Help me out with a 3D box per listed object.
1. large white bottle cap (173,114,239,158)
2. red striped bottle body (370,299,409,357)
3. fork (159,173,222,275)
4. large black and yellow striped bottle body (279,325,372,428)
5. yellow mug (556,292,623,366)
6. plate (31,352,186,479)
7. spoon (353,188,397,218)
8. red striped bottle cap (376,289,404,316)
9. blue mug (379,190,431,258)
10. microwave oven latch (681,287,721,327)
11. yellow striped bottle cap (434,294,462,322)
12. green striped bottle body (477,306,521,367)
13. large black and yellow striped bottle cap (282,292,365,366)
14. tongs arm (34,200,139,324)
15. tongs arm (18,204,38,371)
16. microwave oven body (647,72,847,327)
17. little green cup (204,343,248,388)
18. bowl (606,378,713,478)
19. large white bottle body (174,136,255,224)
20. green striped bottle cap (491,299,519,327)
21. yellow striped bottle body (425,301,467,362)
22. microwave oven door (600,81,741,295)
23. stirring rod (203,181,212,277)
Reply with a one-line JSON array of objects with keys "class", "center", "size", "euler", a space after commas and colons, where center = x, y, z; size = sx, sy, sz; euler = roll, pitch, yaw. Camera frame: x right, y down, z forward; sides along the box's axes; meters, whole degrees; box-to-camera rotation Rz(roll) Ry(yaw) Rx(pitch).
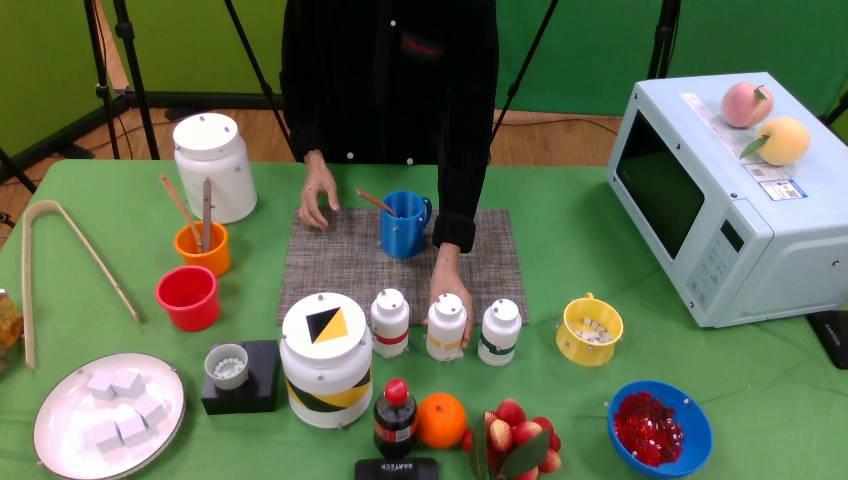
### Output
[{"class": "large white bottle cap", "center": [-0.403, -0.195, 1.122], "size": [0.115, 0.018, 0.114], "euler": [2, 47, -2]}, {"class": "red striped bottle body", "center": [-0.057, 0.135, 0.996], "size": [0.063, 0.120, 0.062], "euler": [3, 47, -3]}, {"class": "fork", "center": [-0.427, -0.029, 1.103], "size": [0.028, 0.018, 0.207], "euler": [-31, 99, -29]}, {"class": "large black and yellow striped bottle body", "center": [-0.143, 0.181, 0.900], "size": [0.131, 0.185, 0.130], "euler": [2, 46, -2]}, {"class": "yellow mug", "center": [0.285, 0.146, 1.051], "size": [0.100, 0.064, 0.130], "euler": [7, 45, 3]}, {"class": "plate", "center": [-0.459, 0.262, 0.898], "size": [0.209, 0.038, 0.208], "euler": [2, 46, -2]}, {"class": "spoon", "center": [-0.069, -0.053, 1.121], "size": [0.021, 0.195, 0.041], "euler": [-36, 51, 11]}, {"class": "red striped bottle cap", "center": [-0.055, 0.098, 0.958], "size": [0.044, 0.018, 0.044], "euler": [0, 47, 0]}, {"class": "blue mug", "center": [-0.032, -0.037, 1.169], "size": [0.116, 0.106, 0.082], "euler": [-29, 55, -28]}, {"class": "microwave oven latch", "center": [0.494, 0.119, 1.087], "size": [0.030, 0.029, 0.078], "euler": [-6, 46, -9]}, {"class": "yellow striped bottle cap", "center": [0.038, 0.106, 0.959], "size": [0.044, 0.019, 0.044], "euler": [0, 47, 0]}, {"class": "green striped bottle body", "center": [0.124, 0.151, 0.995], "size": [0.063, 0.120, 0.063], "euler": [2, 46, -2]}, {"class": "large black and yellow striped bottle cap", "center": [-0.139, 0.121, 0.841], "size": [0.115, 0.019, 0.114], "euler": [3, 47, -3]}, {"class": "tongs arm", "center": [-0.622, 0.034, 1.105], "size": [0.051, 0.026, 0.382], "euler": [-32, 56, -25]}, {"class": "tongs arm", "center": [-0.698, 0.070, 1.069], "size": [0.028, 0.028, 0.385], "euler": [-21, 51, -13]}, {"class": "microwave oven body", "center": [0.607, -0.089, 1.164], "size": [0.326, 0.261, 0.438], "euler": [-7, 46, -10]}, {"class": "little green cup", "center": [-0.294, 0.190, 0.909], "size": [0.061, 0.039, 0.061], "euler": [1, 48, -1]}, {"class": "bowl", "center": [0.340, 0.292, 0.906], "size": [0.151, 0.077, 0.150], "euler": [2, 46, -2]}, {"class": "large white bottle body", "center": [-0.408, -0.137, 1.183], "size": [0.131, 0.185, 0.130], "euler": [2, 46, -2]}, {"class": "green striped bottle cap", "center": [0.128, 0.115, 0.958], "size": [0.044, 0.020, 0.044], "euler": [1, 47, -1]}, {"class": "yellow striped bottle body", "center": [0.036, 0.142, 0.995], "size": [0.063, 0.121, 0.062], "euler": [2, 47, -2]}, {"class": "microwave oven door", "center": [0.454, -0.107, 1.161], "size": [0.039, 0.245, 0.353], "euler": [-6, 47, -11]}, {"class": "stirring rod", "center": [-0.396, -0.021, 1.107], "size": [0.014, 0.006, 0.176], "euler": [-1, 89, -1]}]
